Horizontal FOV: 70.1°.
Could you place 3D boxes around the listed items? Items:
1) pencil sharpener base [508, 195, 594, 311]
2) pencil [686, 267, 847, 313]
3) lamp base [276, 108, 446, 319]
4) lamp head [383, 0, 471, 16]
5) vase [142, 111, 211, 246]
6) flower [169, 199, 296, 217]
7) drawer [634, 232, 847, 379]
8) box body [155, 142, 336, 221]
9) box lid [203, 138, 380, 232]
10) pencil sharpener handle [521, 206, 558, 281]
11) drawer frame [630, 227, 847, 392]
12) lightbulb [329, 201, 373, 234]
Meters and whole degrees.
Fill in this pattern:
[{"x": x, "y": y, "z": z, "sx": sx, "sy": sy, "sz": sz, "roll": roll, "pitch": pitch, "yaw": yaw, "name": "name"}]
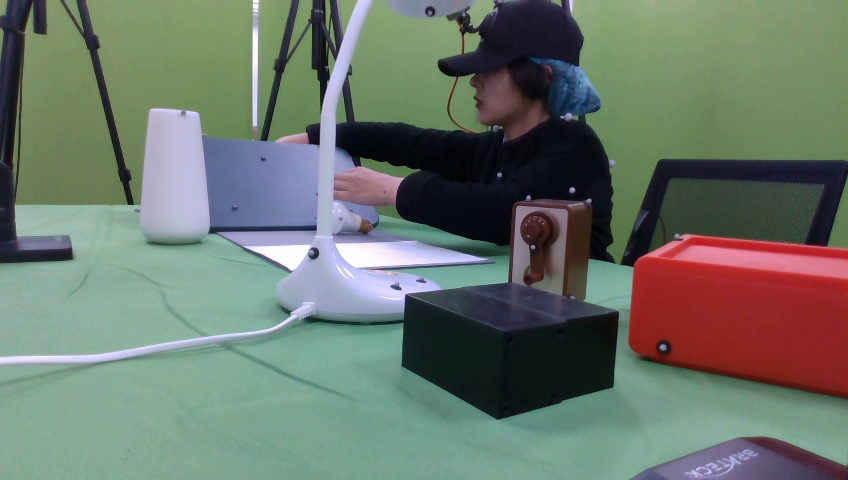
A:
[{"x": 0.126, "y": 0.011, "z": 0.601, "sx": 0.061, "sy": 0.107, "sz": 0.077, "roll": 7, "pitch": 9, "yaw": 30, "name": "pencil sharpener base"}, {"x": 0.308, "y": 0.044, "z": 0.515, "sx": 0.194, "sy": 0.012, "sz": 0.012, "roll": 13, "pitch": 5, "yaw": -12, "name": "pencil"}, {"x": -0.061, "y": -0.027, "z": 0.556, "sx": 0.160, "sy": 0.180, "sz": 0.180, "roll": 4, "pitch": 10, "yaw": 20, "name": "lamp base"}, {"x": -0.001, "y": -0.301, "z": 0.600, "sx": 0.112, "sy": 0.112, "sz": 0.123, "roll": 4, "pitch": -30, "yaw": 14, "name": "lamp head"}, {"x": -0.378, "y": -0.093, "z": 0.920, "sx": 0.098, "sy": 0.200, "sz": 0.098, "roll": 2, "pitch": 9, "yaw": 0, "name": "vase"}, {"x": -0.423, "y": -0.069, "z": 1.399, "sx": 0.044, "sy": 0.038, "sz": 0.363, "roll": 1, "pitch": 1, "yaw": 31, "name": "flower"}, {"x": 0.292, "y": 0.044, "z": 0.488, "sx": 0.193, "sy": 0.073, "sz": 0.213, "roll": 7, "pitch": 9, "yaw": 30, "name": "drawer"}, {"x": -0.411, "y": -0.135, "z": 1.386, "sx": 0.366, "sy": 0.160, "sz": 0.253, "roll": -2, "pitch": 9, "yaw": -29, "name": "box body"}, {"x": -0.286, "y": -0.112, "z": 1.202, "sx": 0.373, "sy": 0.015, "sz": 0.262, "roll": -2, "pitch": 46, "yaw": -30, "name": "box lid"}, {"x": 0.101, "y": 0.003, "z": 0.555, "sx": 0.036, "sy": 0.067, "sz": 0.031, "roll": 0, "pitch": 5, "yaw": 31, "name": "pencil sharpener handle"}, {"x": 0.292, "y": 0.043, "z": 0.484, "sx": 0.201, "sy": 0.082, "sz": 0.214, "roll": 7, "pitch": 9, "yaw": 29, "name": "drawer frame"}, {"x": -0.143, "y": -0.036, "z": 1.109, "sx": 0.108, "sy": 0.059, "sz": 0.059, "roll": 16, "pitch": 0, "yaw": -27, "name": "lightbulb"}]
